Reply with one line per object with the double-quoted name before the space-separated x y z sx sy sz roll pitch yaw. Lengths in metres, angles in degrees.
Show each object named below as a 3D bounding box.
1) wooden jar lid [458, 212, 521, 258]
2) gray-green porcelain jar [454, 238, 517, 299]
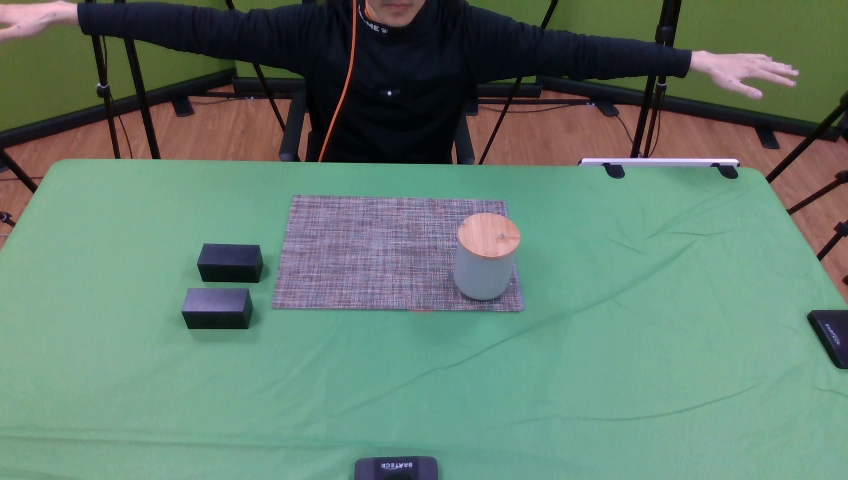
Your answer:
"wooden jar lid" 0.112 -0.006 1.048 0.108 0.021 0.107 1 45 0
"gray-green porcelain jar" 0.109 0.036 1.092 0.106 0.127 0.105 2 47 -2
